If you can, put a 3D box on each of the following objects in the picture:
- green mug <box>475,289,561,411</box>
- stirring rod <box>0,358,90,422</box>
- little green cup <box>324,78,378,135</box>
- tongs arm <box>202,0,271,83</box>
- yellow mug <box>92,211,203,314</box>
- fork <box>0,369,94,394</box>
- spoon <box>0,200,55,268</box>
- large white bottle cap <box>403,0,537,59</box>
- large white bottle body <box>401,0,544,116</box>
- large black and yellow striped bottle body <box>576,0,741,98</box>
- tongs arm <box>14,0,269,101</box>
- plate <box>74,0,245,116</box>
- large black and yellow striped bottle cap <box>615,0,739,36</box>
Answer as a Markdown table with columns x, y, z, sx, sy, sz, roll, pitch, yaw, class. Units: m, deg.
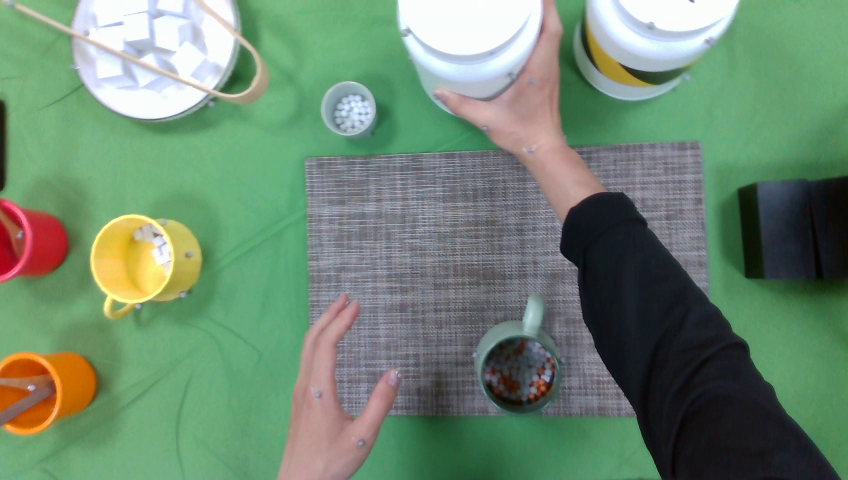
| x | y | z | sx | sy | sz | roll | pitch | yaw | class |
| --- | --- | --- | --- | --- | --- | --- | --- | --- | --- |
| 0.103 | 0.112 | 0.634 | 0.092 | 0.105 | 0.125 | 15 | 90 | 7 | green mug |
| -0.461 | 0.187 | 0.677 | 0.014 | 0.006 | 0.176 | 49 | 51 | 5 | stirring rod |
| -0.081 | -0.151 | 0.699 | 0.061 | 0.038 | 0.061 | 0 | 89 | 5 | little green cup |
| -0.311 | -0.314 | 0.697 | 0.386 | 0.028 | 0.028 | 42 | 86 | 8 | tongs arm |
| -0.328 | 0.031 | 0.705 | 0.100 | 0.064 | 0.131 | 32 | 93 | 6 | yellow mug |
| -0.483 | 0.151 | 0.675 | 0.209 | 0.018 | 0.028 | 17 | 86 | -37 | fork |
| -0.478 | -0.044 | 0.682 | 0.041 | 0.021 | 0.195 | -5 | 133 | 5 | spoon |
| 0.039 | -0.212 | 0.511 | 0.115 | 0.018 | 0.114 | 0 | 88 | 7 | large white bottle cap |
| 0.049 | -0.208 | 0.595 | 0.130 | 0.185 | 0.130 | 0 | 87 | 7 | large white bottle body |
| 0.227 | -0.226 | 0.596 | 0.130 | 0.184 | 0.130 | 0 | 87 | 7 | large black and yellow striped bottle body |
| -0.356 | -0.244 | 0.698 | 0.384 | 0.026 | 0.050 | 28 | 88 | 8 | tongs arm |
| -0.311 | -0.249 | 0.726 | 0.207 | 0.039 | 0.207 | 0 | 89 | 6 | plate |
| 0.216 | -0.232 | 0.513 | 0.115 | 0.019 | 0.115 | 0 | 89 | 5 | large black and yellow striped bottle cap |
